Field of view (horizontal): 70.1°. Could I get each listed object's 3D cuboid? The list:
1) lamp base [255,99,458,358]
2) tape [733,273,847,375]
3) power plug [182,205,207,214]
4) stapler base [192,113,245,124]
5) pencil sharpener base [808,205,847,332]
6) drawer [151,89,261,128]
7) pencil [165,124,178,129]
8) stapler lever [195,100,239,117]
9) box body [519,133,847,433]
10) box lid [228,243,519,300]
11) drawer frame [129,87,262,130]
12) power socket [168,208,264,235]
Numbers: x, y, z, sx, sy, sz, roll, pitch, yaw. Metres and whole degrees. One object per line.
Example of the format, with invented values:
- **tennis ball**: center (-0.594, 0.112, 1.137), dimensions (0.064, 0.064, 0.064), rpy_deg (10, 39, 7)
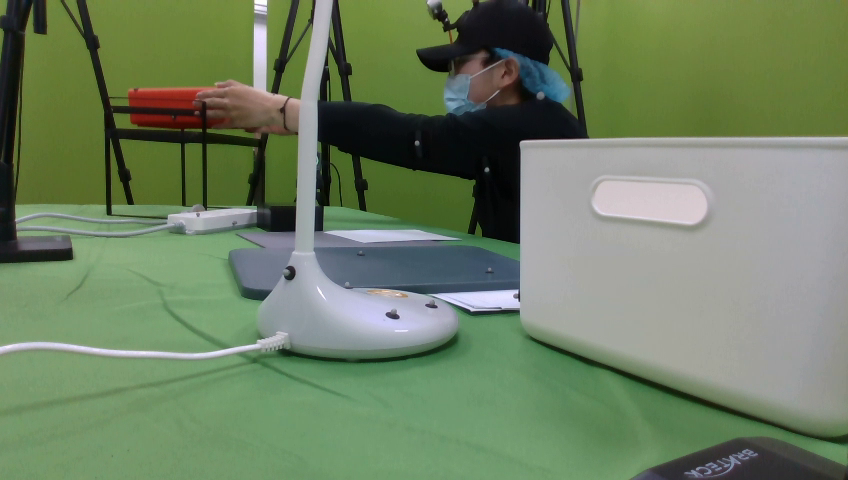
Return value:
- **lamp base**: center (-0.056, -0.013, 0.462), dimensions (0.160, 0.180, 0.180), rpy_deg (6, 11, 27)
- **tape**: center (0.295, 0.059, 0.455), dimensions (0.117, 0.052, 0.117), rpy_deg (2, 7, 0)
- **power plug**: center (-0.456, -0.041, 1.195), dimensions (0.052, 0.035, 0.072), rpy_deg (0, 40, 24)
- **stapler base**: center (-0.456, -0.271, 1.349), dimensions (0.041, 0.024, 0.131), rpy_deg (0, 10, 24)
- **pencil sharpener base**: center (0.386, 0.026, 0.519), dimensions (0.062, 0.107, 0.076), rpy_deg (-5, 11, -43)
- **drawer**: center (-0.500, -0.290, 1.360), dimensions (0.212, 0.073, 0.194), rpy_deg (-1, 9, 7)
- **pencil**: center (-0.489, -0.269, 1.347), dimensions (0.012, 0.012, 0.195), rpy_deg (7, 23, 34)
- **stapler lever**: center (-0.457, -0.294, 1.344), dimensions (0.027, 0.040, 0.118), rpy_deg (0, 9, 24)
- **box body**: center (0.279, 0.005, 0.485), dimensions (0.366, 0.160, 0.253), rpy_deg (-3, 9, -36)
- **box lid**: center (-0.044, 0.033, 0.757), dimensions (0.373, 0.015, 0.262), rpy_deg (-1, 9, -22)
- **drawer frame**: center (-0.503, -0.293, 1.359), dimensions (0.213, 0.082, 0.202), rpy_deg (0, 9, 5)
- **power socket**: center (-0.381, -0.038, 1.129), dimensions (0.072, 0.032, 0.227), rpy_deg (4, 8, 17)
